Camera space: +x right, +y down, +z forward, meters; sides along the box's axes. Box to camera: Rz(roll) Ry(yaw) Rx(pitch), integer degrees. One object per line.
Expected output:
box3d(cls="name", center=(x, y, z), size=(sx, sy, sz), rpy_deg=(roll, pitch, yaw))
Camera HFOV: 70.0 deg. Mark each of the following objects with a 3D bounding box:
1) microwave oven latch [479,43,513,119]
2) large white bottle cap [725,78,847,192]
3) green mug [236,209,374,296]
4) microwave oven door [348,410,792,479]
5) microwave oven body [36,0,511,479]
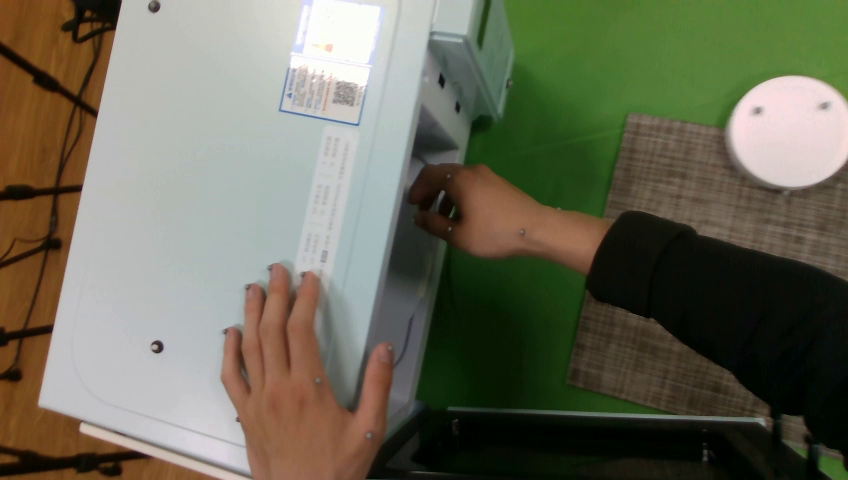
box3d(cls="microwave oven latch", center=(0.077, -0.173, 0.654), size=(0.030, 0.029, 0.079), rpy_deg=(12, 90, 13))
box3d(cls="large white bottle cap", center=(0.367, -0.105, 0.609), size=(0.114, 0.018, 0.114), rpy_deg=(-1, 86, 12))
box3d(cls="green mug", center=(-0.113, 0.013, 0.611), size=(0.125, 0.105, 0.092), rpy_deg=(0, 89, 10))
box3d(cls="microwave oven door", center=(0.135, 0.193, 0.518), size=(0.355, 0.245, 0.039), rpy_deg=(-2, 86, 13))
box3d(cls="microwave oven body", center=(-0.124, -0.037, 0.593), size=(0.325, 0.261, 0.441), rpy_deg=(12, 90, 13))
